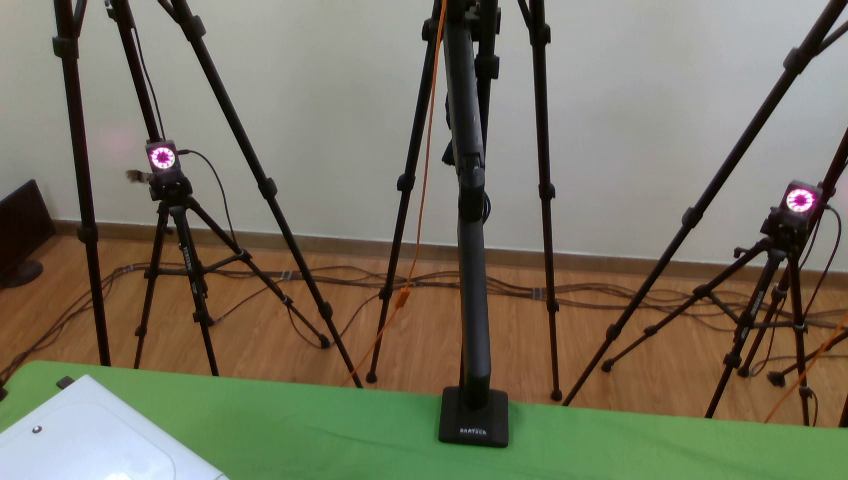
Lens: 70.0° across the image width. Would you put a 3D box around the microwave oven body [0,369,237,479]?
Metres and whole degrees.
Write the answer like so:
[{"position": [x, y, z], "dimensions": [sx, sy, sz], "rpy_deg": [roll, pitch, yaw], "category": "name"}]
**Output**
[{"position": [-0.465, 0.425, 0.697], "dimensions": [0.323, 0.262, 0.441], "rpy_deg": [23, 43, 25], "category": "microwave oven body"}]
